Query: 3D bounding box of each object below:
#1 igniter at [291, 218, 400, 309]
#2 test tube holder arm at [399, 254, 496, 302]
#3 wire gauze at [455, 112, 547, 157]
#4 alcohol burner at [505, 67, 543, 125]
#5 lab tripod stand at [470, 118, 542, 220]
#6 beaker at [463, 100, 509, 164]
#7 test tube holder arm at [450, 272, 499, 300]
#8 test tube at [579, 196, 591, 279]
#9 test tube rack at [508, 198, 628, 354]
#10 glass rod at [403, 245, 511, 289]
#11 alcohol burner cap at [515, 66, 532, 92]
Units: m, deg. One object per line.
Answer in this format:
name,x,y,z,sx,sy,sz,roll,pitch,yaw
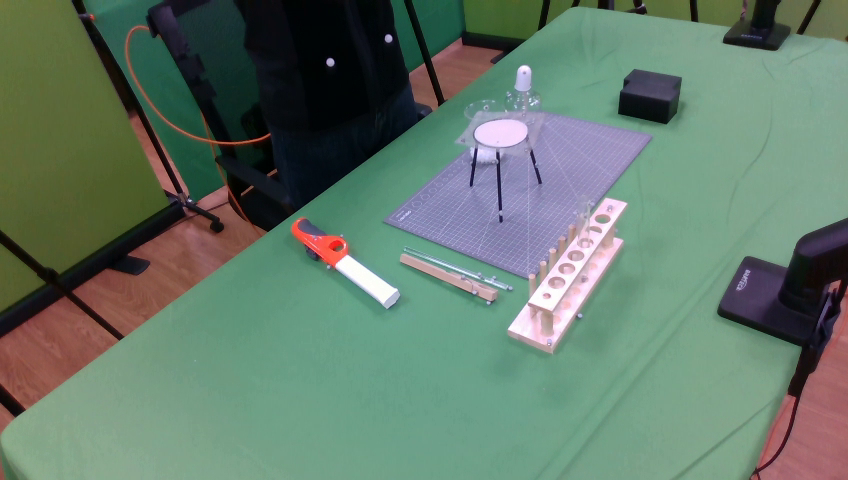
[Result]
igniter,-0.136,0.031,0.970,0.057,0.025,0.274,-41,49,-19
test tube holder arm,0.032,0.054,0.914,0.177,0.015,0.013,21,16,32
wire gauze,0.125,-0.176,0.973,0.124,0.011,0.121,10,42,22
alcohol burner,0.201,-0.293,1.216,0.078,0.119,0.077,-4,41,4
lab tripod stand,0.135,-0.128,1.019,0.148,0.132,0.147,-5,38,5
beaker,0.120,-0.200,1.134,0.083,0.101,0.074,5,43,16
test tube holder arm,0.071,0.068,0.895,0.087,0.015,0.010,21,16,32
test tube,0.217,0.000,0.816,0.017,0.151,0.017,-7,44,8
test tube rack,0.206,0.039,0.850,0.066,0.085,0.243,20,48,31
glass rod,0.047,0.040,0.939,0.198,0.008,0.008,21,49,30
alcohol burner cap,0.198,-0.320,1.192,0.034,0.048,0.033,0,47,1
